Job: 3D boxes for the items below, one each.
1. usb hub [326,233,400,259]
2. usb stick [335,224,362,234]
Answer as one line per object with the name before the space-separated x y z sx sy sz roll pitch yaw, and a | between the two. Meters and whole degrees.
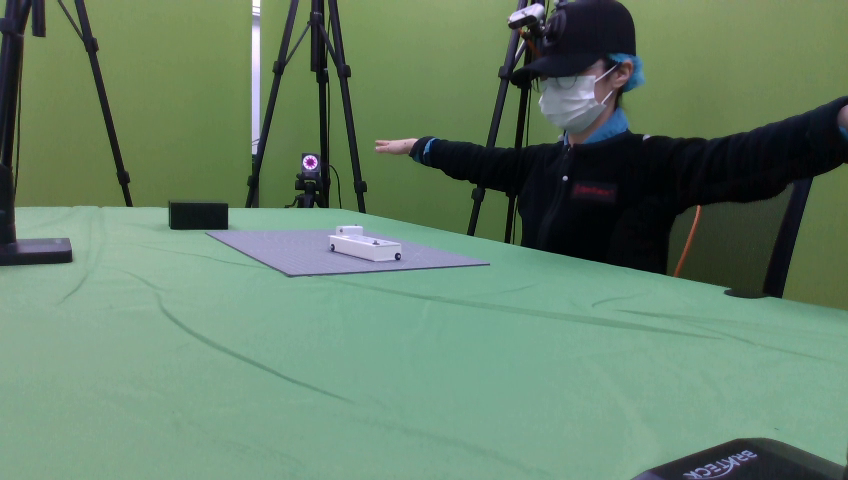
usb hub | -0.092 0.008 0.892 0.050 0.025 0.124 -5 9 -40
usb stick | -0.135 -0.013 1.040 0.021 0.027 0.059 11 14 42
